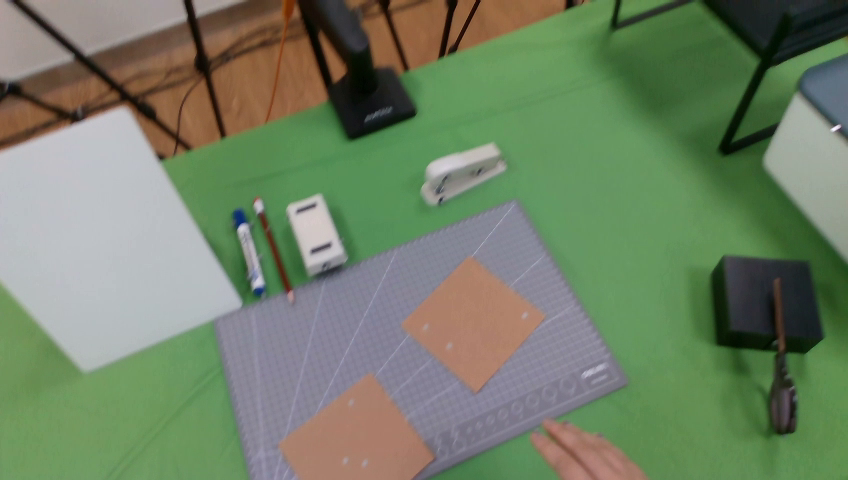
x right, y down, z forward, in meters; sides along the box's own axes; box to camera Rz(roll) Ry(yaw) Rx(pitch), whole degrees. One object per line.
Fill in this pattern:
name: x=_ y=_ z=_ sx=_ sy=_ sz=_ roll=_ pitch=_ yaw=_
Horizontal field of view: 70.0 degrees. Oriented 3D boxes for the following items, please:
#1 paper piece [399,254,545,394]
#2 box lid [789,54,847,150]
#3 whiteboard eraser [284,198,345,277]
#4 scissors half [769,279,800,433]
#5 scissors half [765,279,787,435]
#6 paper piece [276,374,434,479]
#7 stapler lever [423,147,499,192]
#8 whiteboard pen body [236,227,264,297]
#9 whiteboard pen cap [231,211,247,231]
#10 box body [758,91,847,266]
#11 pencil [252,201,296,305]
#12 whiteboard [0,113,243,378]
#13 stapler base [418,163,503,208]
paper piece: x=0.060 y=0.104 z=0.778 sx=0.137 sy=0.009 sz=0.136 roll=39 pitch=74 yaw=23
box lid: x=0.626 y=-0.104 z=0.672 sx=0.263 sy=0.015 sz=0.367 roll=-22 pitch=59 yaw=-8
whiteboard eraser: x=-0.154 y=-0.003 z=0.847 sx=0.055 sy=0.042 sz=0.111 roll=-23 pitch=60 yaw=-7
scissors half: x=0.395 y=0.123 z=0.671 sx=0.013 sy=0.040 sz=0.174 roll=1 pitch=62 yaw=12
scissors half: x=0.398 y=0.131 z=0.689 sx=0.013 sy=0.040 sz=0.174 roll=3 pitch=79 yaw=7
paper piece: x=-0.081 y=0.244 z=0.706 sx=0.135 sy=0.004 sz=0.134 roll=-36 pitch=62 yaw=-16
stapler lever: x=0.053 y=-0.105 z=0.872 sx=0.118 sy=0.040 sz=0.026 roll=-27 pitch=62 yaw=-11
whiteboard pen body: x=-0.249 y=0.020 z=0.856 sx=0.017 sy=0.017 sz=0.139 roll=-21 pitch=59 yaw=-7
whiteboard pen cap: x=-0.270 y=-0.025 z=0.885 sx=0.018 sy=0.018 sz=0.033 roll=-23 pitch=58 yaw=-8
box body: x=0.633 y=-0.063 z=0.734 sx=0.254 sy=0.162 sz=0.360 roll=-22 pitch=59 yaw=-8
pencil: x=-0.213 y=0.015 z=0.860 sx=0.012 sy=0.012 sz=0.192 roll=-25 pitch=59 yaw=-9
whiteboard: x=-0.396 y=-0.013 z=0.758 sx=0.217 sy=0.308 sz=0.142 roll=-22 pitch=40 yaw=-7
stapler base: x=0.053 y=-0.092 z=0.892 sx=0.130 sy=0.024 sz=0.041 roll=-26 pitch=62 yaw=-13
